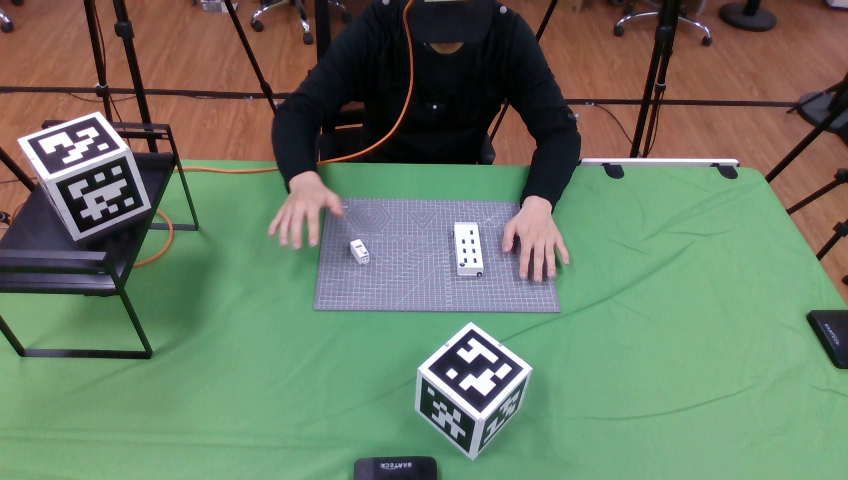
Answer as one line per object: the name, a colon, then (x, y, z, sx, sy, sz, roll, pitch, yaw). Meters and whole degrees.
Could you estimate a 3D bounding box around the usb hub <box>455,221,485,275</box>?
usb hub: (0.087, 0.015, 1.178, 0.049, 0.025, 0.124, 1, 45, -3)

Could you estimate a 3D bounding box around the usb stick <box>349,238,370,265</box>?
usb stick: (-0.120, 0.026, 1.149, 0.021, 0.027, 0.059, -33, 51, 7)
